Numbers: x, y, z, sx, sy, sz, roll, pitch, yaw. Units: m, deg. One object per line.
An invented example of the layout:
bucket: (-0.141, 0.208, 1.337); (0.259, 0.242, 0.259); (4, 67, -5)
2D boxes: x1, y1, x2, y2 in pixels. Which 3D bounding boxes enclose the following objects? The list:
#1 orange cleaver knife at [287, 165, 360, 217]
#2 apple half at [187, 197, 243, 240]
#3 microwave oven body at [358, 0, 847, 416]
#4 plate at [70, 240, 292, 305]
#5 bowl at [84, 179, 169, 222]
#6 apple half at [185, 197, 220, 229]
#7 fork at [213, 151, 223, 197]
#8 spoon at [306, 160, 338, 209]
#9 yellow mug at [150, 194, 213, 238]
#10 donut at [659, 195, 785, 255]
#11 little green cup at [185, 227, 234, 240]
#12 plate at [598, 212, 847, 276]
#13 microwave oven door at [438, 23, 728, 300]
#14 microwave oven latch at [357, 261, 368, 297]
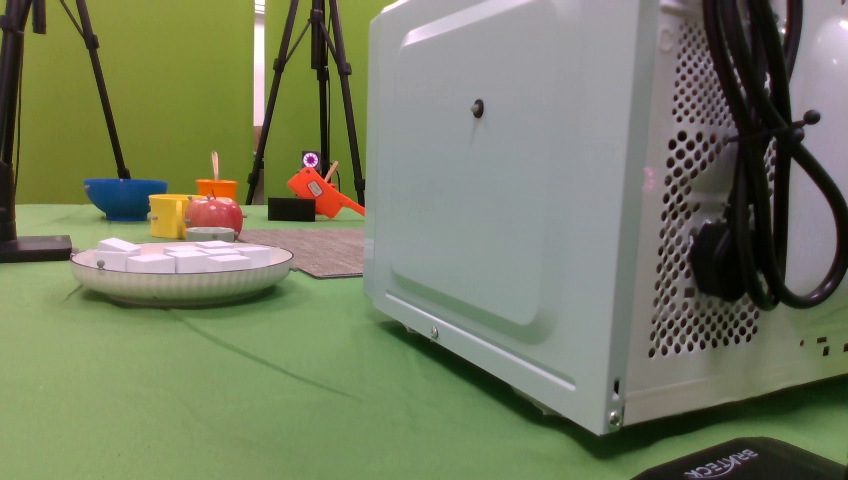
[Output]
orange cleaver knife: (-0.210, -0.093, 1.382); (0.212, 0.077, 0.012); (33, 1, -15)
apple half: (-0.305, -0.026, 0.907); (0.053, 0.074, 0.081); (12, 8, 31)
microwave oven body: (0.211, -0.047, 0.474); (0.444, 0.260, 0.324); (-1, 7, -28)
plate: (-0.242, 0.031, 0.618); (0.208, 0.039, 0.207); (2, 8, 0)
bowl: (-0.584, -0.078, 1.194); (0.151, 0.077, 0.151); (3, 8, 0)
apple half: (-0.338, -0.031, 0.927); (0.032, 0.081, 0.081); (12, 12, 31)
fork: (-0.493, -0.143, 1.442); (0.028, 0.018, 0.206); (-3, 52, -19)
spoon: (-0.257, -0.147, 1.567); (0.041, 0.022, 0.193); (2, 51, 20)
yellow mug: (-0.401, -0.040, 1.003); (0.100, 0.064, 0.130); (-1, 9, -20)
donut: (0.252, -0.012, 0.517); (0.099, 0.048, 0.099); (3, 8, 0)
little green cup: (-0.285, 0.005, 0.805); (0.061, 0.038, 0.061); (2, 8, 0)
plate: (0.255, 0.001, 0.518); (0.209, 0.038, 0.209); (2, 6, 0)
microwave oven door: (0.181, -0.072, 0.621); (0.358, 0.243, 0.039); (-2, 8, -29)
microwave oven latch: (-0.019, 0.033, 0.531); (0.079, 0.029, 0.030); (-1, 7, -27)
